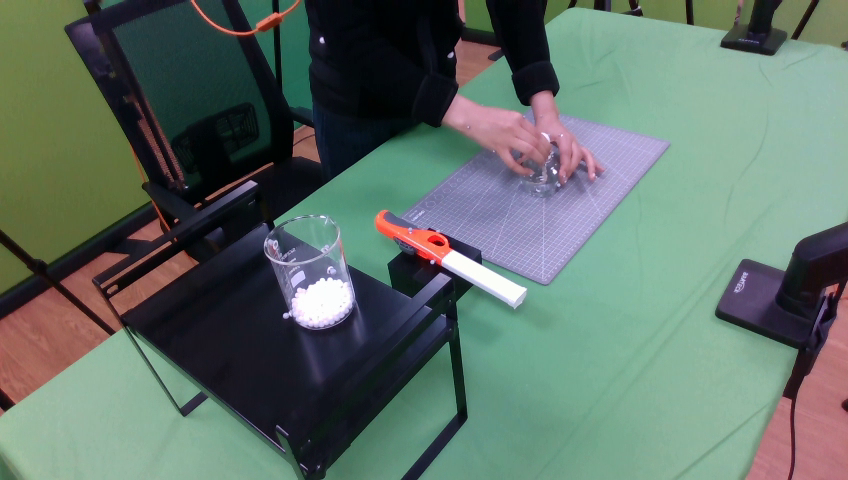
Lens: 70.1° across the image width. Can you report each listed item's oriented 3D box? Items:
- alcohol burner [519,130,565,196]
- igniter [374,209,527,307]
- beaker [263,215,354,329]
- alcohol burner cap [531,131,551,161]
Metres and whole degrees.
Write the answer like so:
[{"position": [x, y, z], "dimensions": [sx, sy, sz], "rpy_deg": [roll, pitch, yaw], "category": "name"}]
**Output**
[{"position": [0.200, -0.135, 1.027], "dimensions": [0.078, 0.119, 0.077], "rpy_deg": [-5, 42, 5], "category": "alcohol burner"}, {"position": [0.027, 0.019, 0.873], "dimensions": [0.274, 0.025, 0.057], "rpy_deg": [29, 52, 31], "category": "igniter"}, {"position": [-0.112, 0.034, 0.616], "dimensions": [0.073, 0.101, 0.084], "rpy_deg": [13, 44, 23], "category": "beaker"}, {"position": [0.196, -0.159, 1.008], "dimensions": [0.034, 0.048, 0.033], "rpy_deg": [-4, 41, 4], "category": "alcohol burner cap"}]
